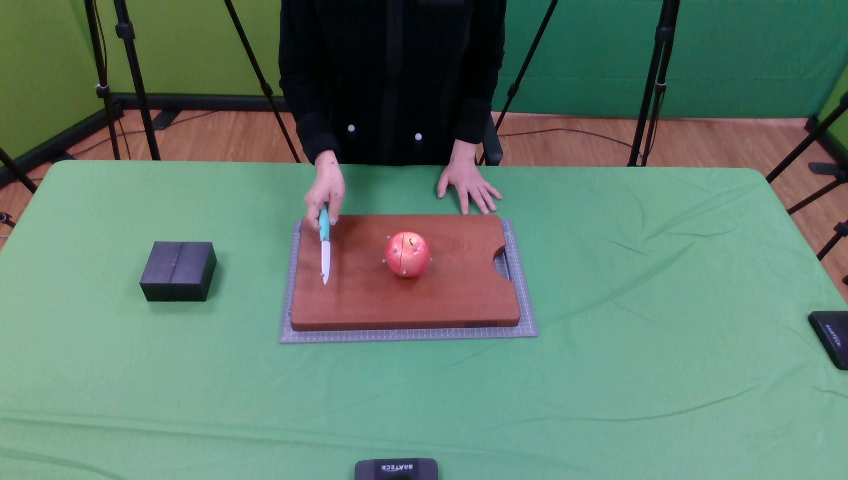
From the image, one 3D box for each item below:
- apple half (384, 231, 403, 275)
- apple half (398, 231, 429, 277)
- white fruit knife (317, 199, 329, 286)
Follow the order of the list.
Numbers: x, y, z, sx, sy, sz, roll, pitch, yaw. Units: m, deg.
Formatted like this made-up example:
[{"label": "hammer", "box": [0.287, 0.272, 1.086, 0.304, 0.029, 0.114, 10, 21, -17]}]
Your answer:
[{"label": "apple half", "box": [-0.056, 0.025, 1.092, 0.033, 0.081, 0.081, 5, 46, -3]}, {"label": "apple half", "box": [-0.018, 0.028, 1.095, 0.053, 0.075, 0.080, 6, 42, -4]}, {"label": "white fruit knife", "box": [-0.180, -0.001, 1.089, 0.016, 0.027, 0.206, -30, 45, 23]}]
